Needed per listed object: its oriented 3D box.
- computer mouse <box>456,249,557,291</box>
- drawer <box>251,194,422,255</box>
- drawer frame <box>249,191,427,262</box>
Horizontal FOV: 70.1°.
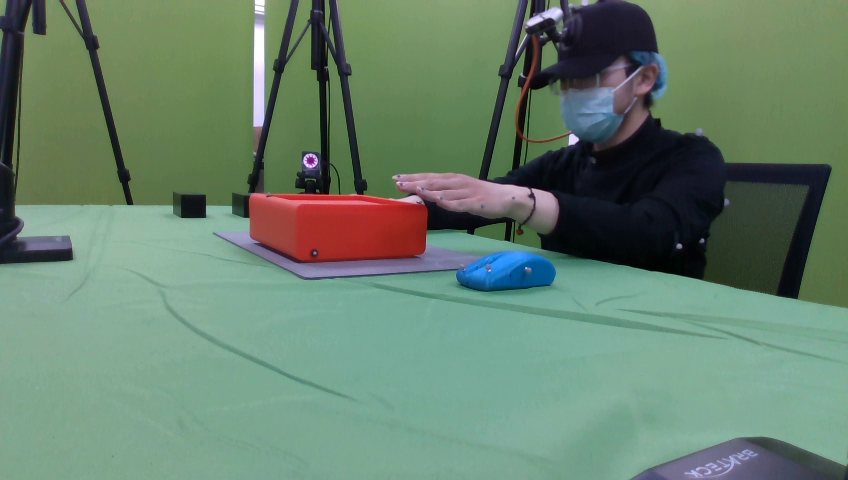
[{"bbox_3d":[0.097,0.034,0.709,0.118,0.041,0.062,-7,12,-31],"label":"computer mouse"},{"bbox_3d":[-0.136,-0.027,0.911,0.195,0.073,0.210,-1,8,-31],"label":"drawer"},{"bbox_3d":[-0.135,-0.027,0.909,0.203,0.082,0.212,-1,9,-32],"label":"drawer frame"}]
